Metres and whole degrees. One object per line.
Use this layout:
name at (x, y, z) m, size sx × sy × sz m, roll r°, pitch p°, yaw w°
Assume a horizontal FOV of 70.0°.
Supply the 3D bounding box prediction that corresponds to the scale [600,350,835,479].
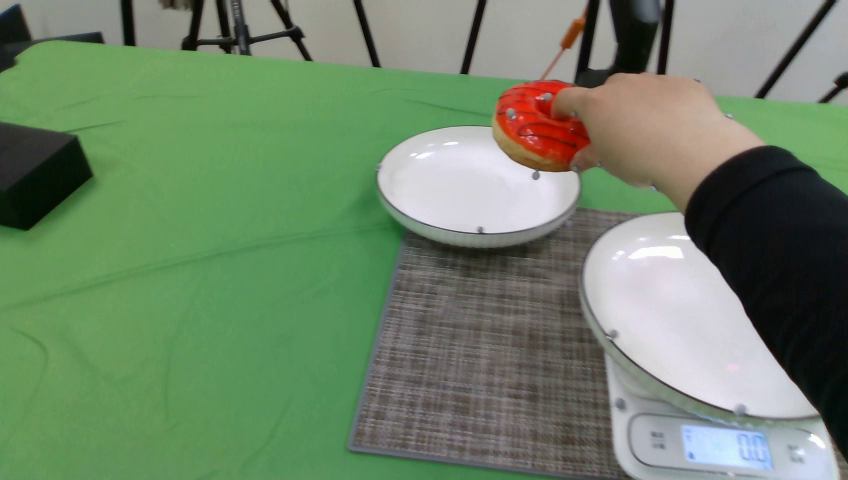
scale at (0.212, 0.092, 0.467) m, size 0.148 × 0.032 × 0.199 m, roll 5°, pitch 42°, yaw 5°

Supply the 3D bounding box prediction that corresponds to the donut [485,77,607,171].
donut at (0.098, -0.093, 0.488) m, size 0.099 × 0.048 × 0.098 m, roll 4°, pitch 46°, yaw -4°

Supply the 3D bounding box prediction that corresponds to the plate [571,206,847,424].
plate at (0.215, 0.052, 0.462) m, size 0.208 × 0.039 × 0.205 m, roll 1°, pitch 42°, yaw -1°

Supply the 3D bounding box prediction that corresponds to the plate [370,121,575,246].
plate at (0.048, -0.058, 0.628) m, size 0.209 × 0.038 × 0.207 m, roll 1°, pitch 40°, yaw 0°
